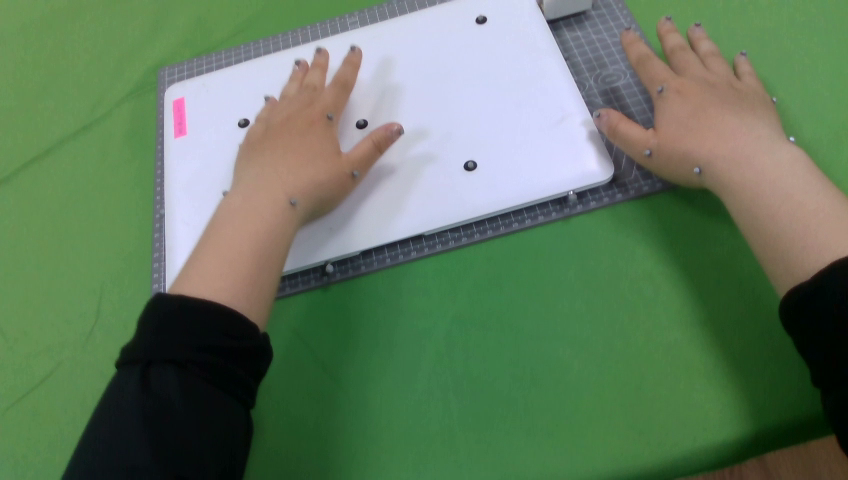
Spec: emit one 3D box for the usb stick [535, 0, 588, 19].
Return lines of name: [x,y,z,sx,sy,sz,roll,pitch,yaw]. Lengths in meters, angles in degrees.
usb stick: [0.115,-0.216,0.541,0.059,0.027,0.021,-16,58,5]

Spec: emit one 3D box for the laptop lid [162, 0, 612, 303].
laptop lid: [-0.052,-0.096,0.506,0.357,0.013,0.239,-15,61,3]

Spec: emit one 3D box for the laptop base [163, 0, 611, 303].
laptop base: [-0.051,-0.092,0.517,0.354,0.023,0.233,-16,62,2]
